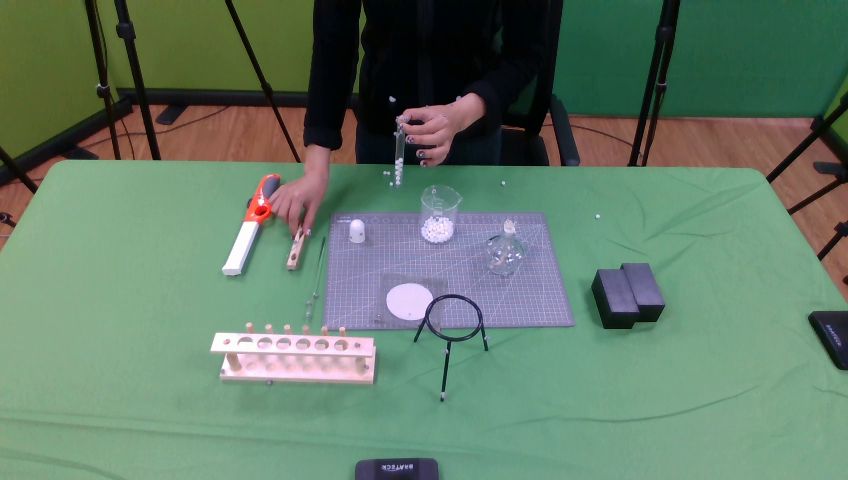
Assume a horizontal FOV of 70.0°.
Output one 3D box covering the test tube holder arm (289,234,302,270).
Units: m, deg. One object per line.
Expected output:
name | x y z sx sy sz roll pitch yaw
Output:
test tube holder arm | -0.246 0.021 1.159 0.010 0.015 0.087 19 44 -15

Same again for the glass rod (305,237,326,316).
glass rod | -0.202 0.063 1.131 0.008 0.008 0.198 4 44 0

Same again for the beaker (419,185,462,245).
beaker | 0.029 -0.047 1.191 0.084 0.101 0.073 -5 47 -10

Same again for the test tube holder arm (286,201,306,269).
test tube holder arm | -0.251 -0.014 1.188 0.013 0.015 0.177 17 45 -17

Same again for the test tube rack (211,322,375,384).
test tube rack | -0.202 0.176 0.969 0.242 0.085 0.066 3 46 -2

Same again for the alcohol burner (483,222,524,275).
alcohol burner | 0.152 0.009 1.136 0.078 0.119 0.077 4 46 -4

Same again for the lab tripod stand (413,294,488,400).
lab tripod stand | 0.044 0.159 0.972 0.148 0.132 0.147 2 44 -2

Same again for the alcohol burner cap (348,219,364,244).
alcohol burner cap | -0.134 -0.019 1.190 0.034 0.048 0.033 2 46 -2

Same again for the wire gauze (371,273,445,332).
wire gauze | -0.028 0.108 1.100 0.125 0.011 0.121 7 45 4

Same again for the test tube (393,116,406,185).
test tube | -0.045 -0.157 1.086 0.017 0.151 0.017 4 47 -4

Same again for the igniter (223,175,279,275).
igniter | -0.341 -0.039 1.207 0.057 0.025 0.275 -1 45 8
